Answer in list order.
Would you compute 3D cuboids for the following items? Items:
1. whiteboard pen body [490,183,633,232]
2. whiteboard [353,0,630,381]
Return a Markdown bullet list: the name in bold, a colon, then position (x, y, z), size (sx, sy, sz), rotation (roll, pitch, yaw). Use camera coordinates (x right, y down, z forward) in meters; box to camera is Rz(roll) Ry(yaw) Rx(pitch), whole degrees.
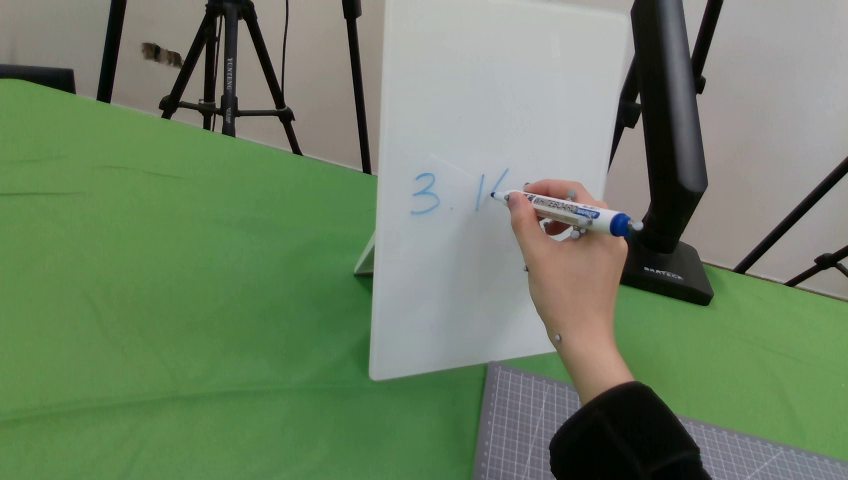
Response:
- **whiteboard pen body**: position (0.088, -0.027, 0.427), size (0.017, 0.017, 0.139), rotation (-7, 17, -30)
- **whiteboard**: position (0.036, -0.058, 0.548), size (0.218, 0.307, 0.142), rotation (-4, 18, -25)
